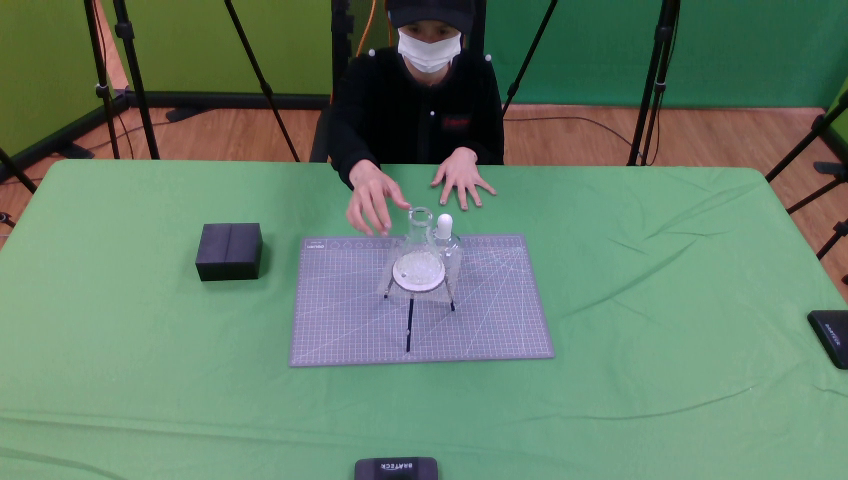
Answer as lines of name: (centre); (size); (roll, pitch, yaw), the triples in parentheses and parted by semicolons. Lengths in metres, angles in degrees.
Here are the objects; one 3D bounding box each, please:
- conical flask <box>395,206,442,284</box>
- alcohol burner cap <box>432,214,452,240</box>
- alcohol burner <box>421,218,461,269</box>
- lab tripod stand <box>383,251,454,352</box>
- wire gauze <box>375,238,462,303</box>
conical flask: (-0.007, 0.005, 0.937); (0.075, 0.122, 0.075); (2, 45, -1)
alcohol burner cap: (0.035, -0.027, 1.110); (0.034, 0.048, 0.033); (7, 43, -6)
alcohol burner: (0.033, -0.001, 1.135); (0.078, 0.119, 0.077); (3, 48, -3)
lab tripod stand: (-0.015, 0.094, 1.025); (0.148, 0.132, 0.147); (1, 46, -1)
wire gauze: (-0.006, 0.049, 0.977); (0.121, 0.011, 0.124); (10, 44, 5)
